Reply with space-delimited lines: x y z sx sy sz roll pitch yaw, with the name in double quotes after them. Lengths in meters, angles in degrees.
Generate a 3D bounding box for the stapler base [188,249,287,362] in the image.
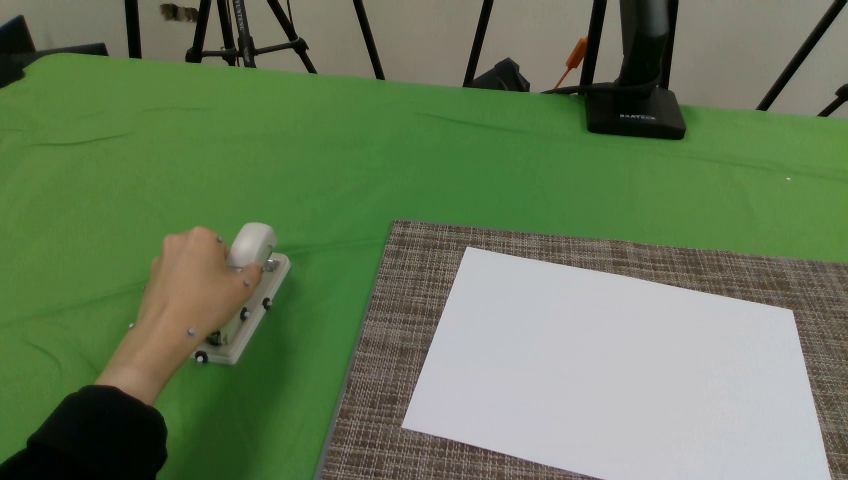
-0.160 0.047 0.529 0.041 0.024 0.129 7 43 9 "stapler base"

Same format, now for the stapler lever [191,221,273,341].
-0.160 0.030 0.511 0.027 0.040 0.117 7 42 9 "stapler lever"
